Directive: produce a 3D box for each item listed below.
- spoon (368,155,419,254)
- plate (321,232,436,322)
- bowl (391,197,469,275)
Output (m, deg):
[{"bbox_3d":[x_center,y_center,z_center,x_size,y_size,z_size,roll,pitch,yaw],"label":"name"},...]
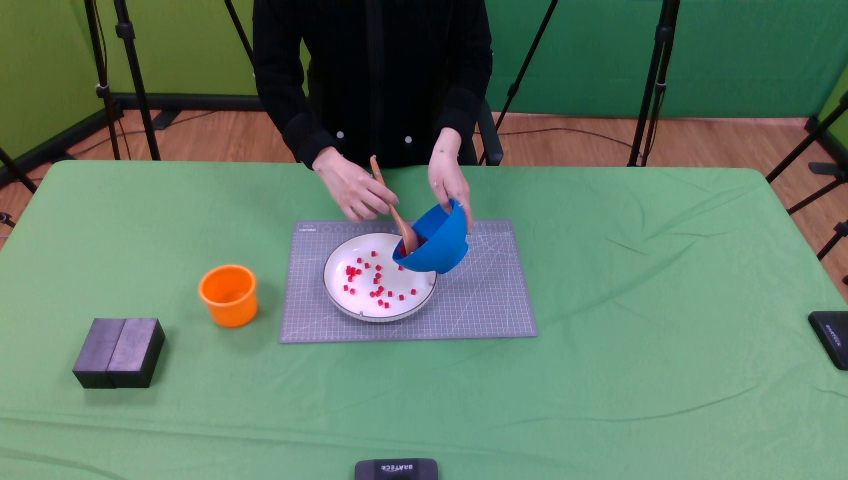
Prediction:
[{"bbox_3d":[-0.054,-0.055,1.034,0.021,0.194,0.041,-13,22,39],"label":"spoon"},{"bbox_3d":[-0.083,0.070,1.109,0.209,0.038,0.208,3,46,-2],"label":"plate"},{"bbox_3d":[0.023,0.006,1.039,0.077,0.151,0.151,45,48,-15],"label":"bowl"}]
